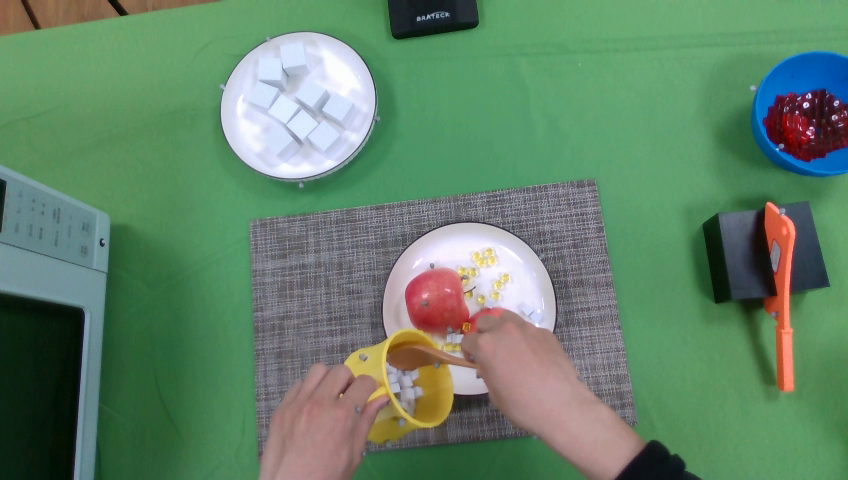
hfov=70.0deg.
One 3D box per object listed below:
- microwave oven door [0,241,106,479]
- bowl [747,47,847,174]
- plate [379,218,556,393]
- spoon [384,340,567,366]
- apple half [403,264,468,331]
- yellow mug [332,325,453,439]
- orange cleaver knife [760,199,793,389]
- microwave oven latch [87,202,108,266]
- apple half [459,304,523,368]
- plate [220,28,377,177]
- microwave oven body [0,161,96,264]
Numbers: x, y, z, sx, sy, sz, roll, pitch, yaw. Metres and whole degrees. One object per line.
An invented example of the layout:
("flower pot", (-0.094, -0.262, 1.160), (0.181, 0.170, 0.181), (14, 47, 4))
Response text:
("microwave oven door", (-0.425, 0.185, 0.625), (0.039, 0.245, 0.354), (-4, 78, 4))
("bowl", (0.453, -0.142, 0.722), (0.151, 0.077, 0.150), (-1, 78, 5))
("plate", (0.050, 0.077, 0.727), (0.209, 0.038, 0.208), (-1, 79, 4))
("spoon", (0.045, 0.114, 0.590), (0.193, 0.042, 0.021), (-2, 47, 32))
("apple half", (0.012, 0.067, 0.717), (0.074, 0.053, 0.080), (-9, 79, 5))
("yellow mug", (-0.037, 0.145, 0.598), (0.064, 0.131, 0.099), (-31, 78, 35))
("orange cleaver knife", (0.395, 0.061, 0.682), (0.012, 0.077, 0.212), (-5, 101, 8))
("microwave oven latch", (-0.423, -0.007, 0.769), (0.030, 0.029, 0.079), (-2, 79, 4))
("apple half", (0.078, 0.113, 0.711), (0.081, 0.033, 0.081), (-2, 75, 6))
("plate", (-0.162, -0.179, 0.803), (0.207, 0.039, 0.206), (-1, 78, 5))
("microwave oven body", (-0.571, 0.153, 0.649), (0.326, 0.261, 0.439), (-3, 78, 4))
